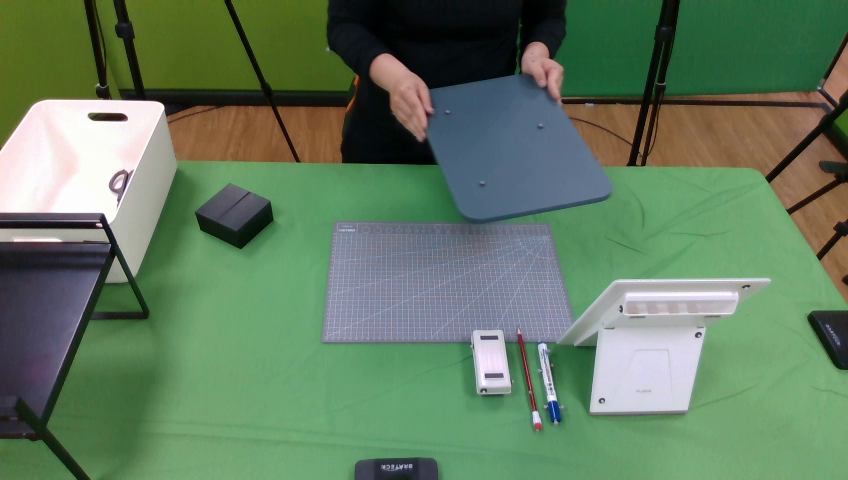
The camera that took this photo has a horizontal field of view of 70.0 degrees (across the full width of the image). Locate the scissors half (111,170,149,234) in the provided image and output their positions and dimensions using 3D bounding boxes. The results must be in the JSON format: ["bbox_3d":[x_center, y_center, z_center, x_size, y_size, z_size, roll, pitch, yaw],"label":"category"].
[{"bbox_3d":[-0.596,-0.078,1.223,0.040,0.013,0.174,6,51,2],"label":"scissors half"}]

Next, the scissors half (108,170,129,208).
[{"bbox_3d":[-0.618,-0.077,1.222,0.040,0.013,0.174,-14,52,-8],"label":"scissors half"}]

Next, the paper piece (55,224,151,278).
[{"bbox_3d":[-0.595,0.018,1.128,0.135,0.004,0.135,1,47,-2],"label":"paper piece"}]

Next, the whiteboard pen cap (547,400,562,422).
[{"bbox_3d":[0.205,0.269,0.956,0.018,0.018,0.033,0,47,-5],"label":"whiteboard pen cap"}]

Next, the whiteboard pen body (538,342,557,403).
[{"bbox_3d":[0.205,0.228,0.997,0.017,0.017,0.140,1,46,-3],"label":"whiteboard pen body"}]

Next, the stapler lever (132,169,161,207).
[{"bbox_3d":[-0.557,-0.113,1.218,0.027,0.040,0.117,1,42,-8],"label":"stapler lever"}]

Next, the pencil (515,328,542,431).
[{"bbox_3d":[0.169,0.224,1.002,0.012,0.012,0.192,-1,46,-6],"label":"pencil"}]

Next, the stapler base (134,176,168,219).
[{"bbox_3d":[-0.558,-0.093,1.234,0.041,0.024,0.129,1,42,-8],"label":"stapler base"}]

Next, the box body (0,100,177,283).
[{"bbox_3d":[-0.639,-0.095,1.140,0.254,0.161,0.361,0,46,-4],"label":"box body"}]

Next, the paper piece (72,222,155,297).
[{"bbox_3d":[-0.598,0.034,1.141,0.136,0.009,0.137,15,52,-15],"label":"paper piece"}]

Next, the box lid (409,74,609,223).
[{"bbox_3d":[0.136,-0.175,1.067,0.263,0.015,0.369,-11,48,-10],"label":"box lid"}]

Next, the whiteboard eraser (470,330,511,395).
[{"bbox_3d":[0.110,0.202,0.998,0.055,0.042,0.112,1,46,-5],"label":"whiteboard eraser"}]

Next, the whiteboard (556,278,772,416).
[{"bbox_3d":[0.347,0.174,0.903,0.217,0.306,0.143,1,65,-4],"label":"whiteboard"}]
